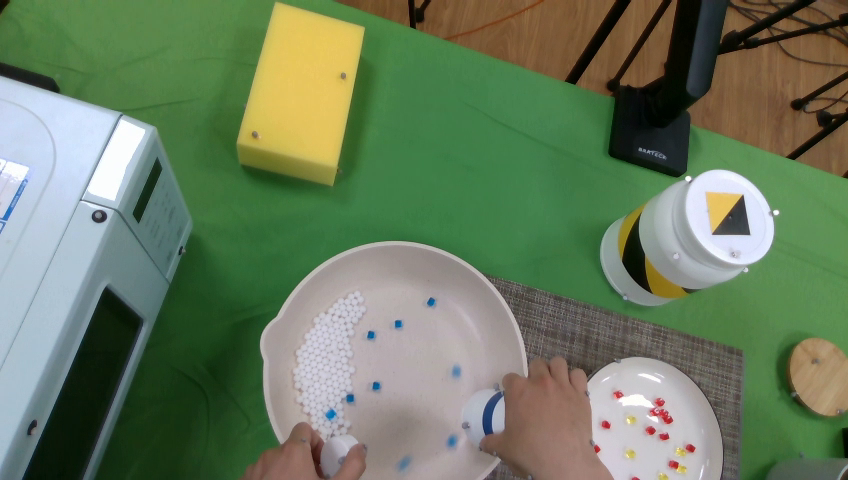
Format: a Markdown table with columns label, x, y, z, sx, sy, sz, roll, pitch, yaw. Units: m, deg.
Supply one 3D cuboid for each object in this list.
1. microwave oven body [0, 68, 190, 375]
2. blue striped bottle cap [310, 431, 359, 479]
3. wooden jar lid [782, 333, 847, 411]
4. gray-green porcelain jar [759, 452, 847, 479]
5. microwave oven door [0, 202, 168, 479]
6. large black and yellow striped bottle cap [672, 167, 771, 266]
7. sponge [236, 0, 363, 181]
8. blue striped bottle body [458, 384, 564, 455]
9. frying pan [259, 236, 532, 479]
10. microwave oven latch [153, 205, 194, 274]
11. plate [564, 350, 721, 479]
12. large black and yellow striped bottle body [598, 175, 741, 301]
| label | x | y | z | sx | sy | sz | roll | pitch | yaw |
| --- | --- | --- | --- | --- | --- | --- | --- | --- | --- |
| microwave oven body | -0.443 | 0.086 | 0.505 | 0.327 | 0.260 | 0.439 | 17 | 71 | -9 |
| blue striped bottle cap | -0.086 | 0.205 | 0.577 | 0.044 | 0.021 | 0.044 | -8 | 66 | 19 |
| wooden jar lid | 0.550 | 0.185 | 0.852 | 0.109 | 0.021 | 0.108 | 4 | 74 | -12 |
| gray-green porcelain jar | 0.490 | 0.315 | 0.741 | 0.106 | 0.127 | 0.105 | 4 | 72 | -12 |
| microwave oven door | -0.314 | 0.165 | 0.507 | 0.039 | 0.244 | 0.354 | 17 | 70 | -8 |
| large black and yellow striped bottle cap | 0.337 | -0.028 | 0.685 | 0.115 | 0.019 | 0.114 | 4 | 71 | -12 |
| sponge | -0.155 | -0.191 | 0.771 | 0.118 | 0.061 | 0.205 | 11 | 72 | -10 |
| blue striped bottle body | 0.082 | 0.182 | 0.627 | 0.063 | 0.120 | 0.063 | 6 | 78 | -28 |
| frying pan | -0.050 | 0.233 | 0.642 | 0.307 | 0.103 | 0.484 | 15 | 62 | -6 |
| microwave oven latch | -0.283 | -0.004 | 0.675 | 0.030 | 0.029 | 0.079 | 19 | 70 | -8 |
| plate | 0.266 | 0.243 | 0.751 | 0.210 | 0.038 | 0.208 | 4 | 73 | -12 |
| large black and yellow striped bottle body | 0.319 | -0.003 | 0.765 | 0.131 | 0.184 | 0.130 | 4 | 72 | -12 |
